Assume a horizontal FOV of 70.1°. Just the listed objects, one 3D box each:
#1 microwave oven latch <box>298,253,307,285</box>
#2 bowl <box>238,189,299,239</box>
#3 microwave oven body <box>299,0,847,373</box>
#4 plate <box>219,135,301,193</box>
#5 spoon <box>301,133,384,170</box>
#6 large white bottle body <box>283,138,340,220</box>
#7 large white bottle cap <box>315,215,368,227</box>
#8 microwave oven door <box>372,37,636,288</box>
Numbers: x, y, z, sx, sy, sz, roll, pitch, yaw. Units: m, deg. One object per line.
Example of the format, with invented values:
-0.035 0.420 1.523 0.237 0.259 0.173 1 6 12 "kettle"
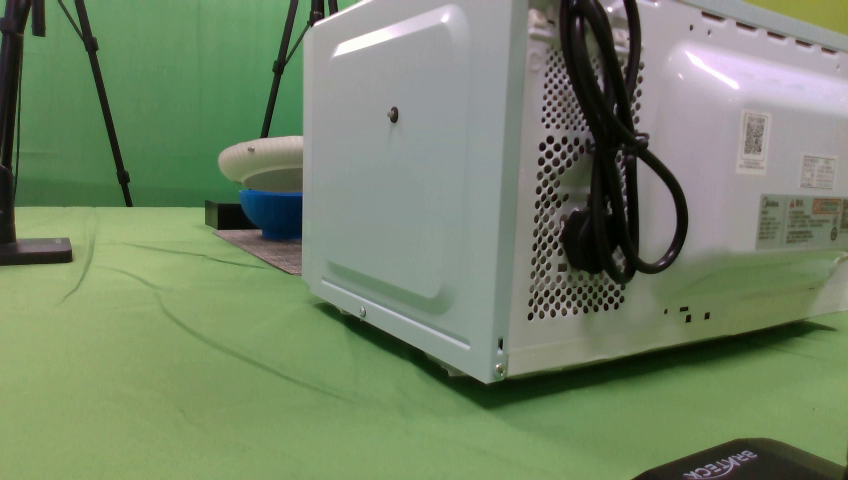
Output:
-0.081 0.027 0.583 0.079 0.029 0.030 -2 7 -33 "microwave oven latch"
-0.245 -0.045 1.053 0.151 0.077 0.151 3 8 0 "bowl"
0.151 -0.055 0.542 0.444 0.260 0.324 -2 7 -33 "microwave oven body"
-0.189 -0.104 0.881 0.209 0.038 0.209 -7 -7 -1 "plate"
-0.123 -0.147 0.970 0.041 0.021 0.194 40 42 16 "spoon"
-0.265 -0.143 1.424 0.131 0.184 0.130 2 7 0 "large white bottle body"
-0.178 -0.041 1.309 0.115 0.018 0.115 2 6 0 "large white bottle cap"
0.110 -0.080 0.686 0.358 0.243 0.039 -2 9 -33 "microwave oven door"
